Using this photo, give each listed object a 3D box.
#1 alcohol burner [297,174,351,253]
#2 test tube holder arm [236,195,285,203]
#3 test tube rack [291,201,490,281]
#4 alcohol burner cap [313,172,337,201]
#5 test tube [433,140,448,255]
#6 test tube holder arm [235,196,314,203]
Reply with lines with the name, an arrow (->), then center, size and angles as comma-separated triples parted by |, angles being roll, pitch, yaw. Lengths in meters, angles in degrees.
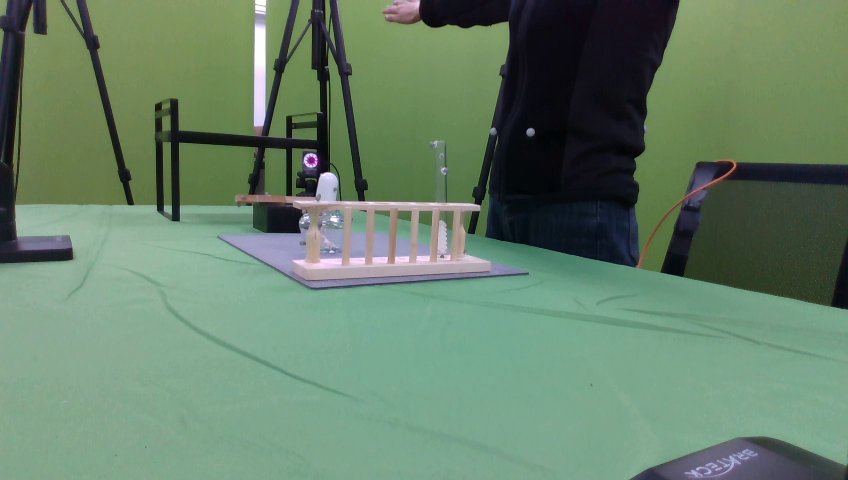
alcohol burner -> -0.146, -0.040, 0.894 | 0.078, 0.119, 0.078 | 5, 7, 0
test tube holder arm -> -0.304, -0.076, 1.125 | 0.088, 0.015, 0.010 | -1, 2, -29
test tube rack -> -0.035, -0.002, 0.745 | 0.243, 0.085, 0.066 | -1, 8, -28
alcohol burner cap -> -0.144, -0.076, 0.888 | 0.034, 0.048, 0.034 | 8, 6, -1
test tube -> 0.022, -0.054, 0.785 | 0.017, 0.150, 0.017 | -1, 9, 1
test tube holder arm -> -0.267, -0.076, 1.152 | 0.179, 0.015, 0.013 | -1, 2, -30
